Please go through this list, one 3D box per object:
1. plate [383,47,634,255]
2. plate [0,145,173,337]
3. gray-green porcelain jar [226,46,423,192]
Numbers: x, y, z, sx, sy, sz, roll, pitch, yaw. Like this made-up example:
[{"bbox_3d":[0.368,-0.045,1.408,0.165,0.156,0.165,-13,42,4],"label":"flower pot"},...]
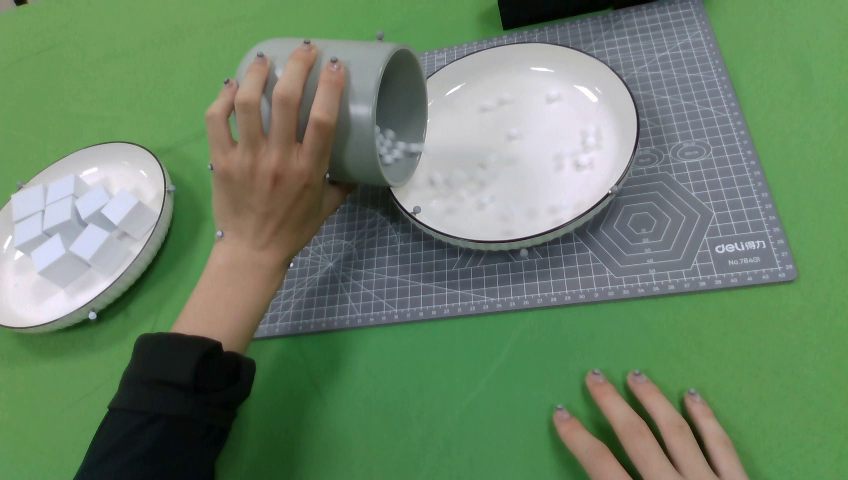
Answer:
[{"bbox_3d":[0.064,-0.074,0.501,0.209,0.038,0.207,-8,56,13],"label":"plate"},{"bbox_3d":[-0.332,0.000,0.582,0.207,0.039,0.205,-8,57,13],"label":"plate"},{"bbox_3d":[-0.077,-0.095,0.470,0.126,0.107,0.105,8,61,19],"label":"gray-green porcelain jar"}]
